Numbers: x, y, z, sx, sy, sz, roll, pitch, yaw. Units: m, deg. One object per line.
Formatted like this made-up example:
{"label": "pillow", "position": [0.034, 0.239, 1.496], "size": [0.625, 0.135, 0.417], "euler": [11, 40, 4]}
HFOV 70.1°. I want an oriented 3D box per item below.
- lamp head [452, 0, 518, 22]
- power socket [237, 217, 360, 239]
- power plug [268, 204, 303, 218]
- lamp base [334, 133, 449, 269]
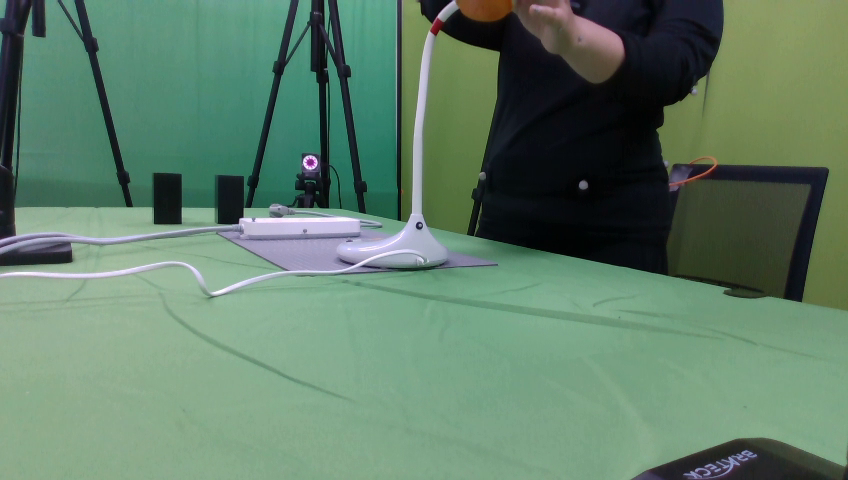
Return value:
{"label": "lamp head", "position": [0.071, -0.319, 0.705], "size": [0.112, 0.122, 0.112], "euler": [7, -2, 1]}
{"label": "power socket", "position": [-0.221, -0.023, 1.080], "size": [0.228, 0.032, 0.072], "euler": [-2, 8, -32]}
{"label": "power plug", "position": [-0.327, -0.060, 1.404], "size": [0.073, 0.035, 0.052], "euler": [22, -14, -26]}
{"label": "lamp base", "position": [-0.034, -0.057, 0.831], "size": [0.161, 0.180, 0.178], "euler": [-3, 12, -36]}
